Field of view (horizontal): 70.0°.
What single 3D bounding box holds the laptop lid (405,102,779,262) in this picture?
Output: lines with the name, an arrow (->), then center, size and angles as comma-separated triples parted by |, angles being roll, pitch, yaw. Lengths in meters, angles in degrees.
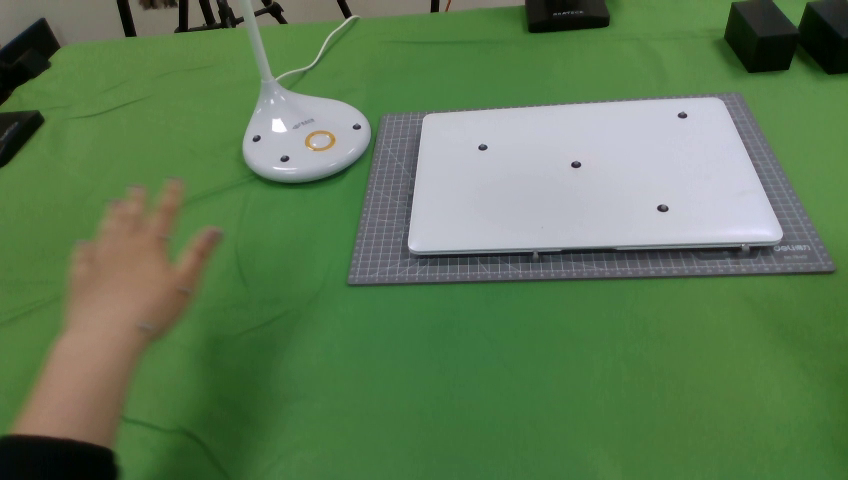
laptop lid -> 0.160, -0.071, 0.651 | 0.356, 0.013, 0.239 | -1, 47, 8

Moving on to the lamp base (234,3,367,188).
lamp base -> -0.169, -0.178, 0.713 | 0.177, 0.182, 0.160 | 28, 55, 35

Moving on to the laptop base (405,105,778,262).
laptop base -> 0.162, -0.064, 0.661 | 0.354, 0.023, 0.233 | -2, 47, 7
